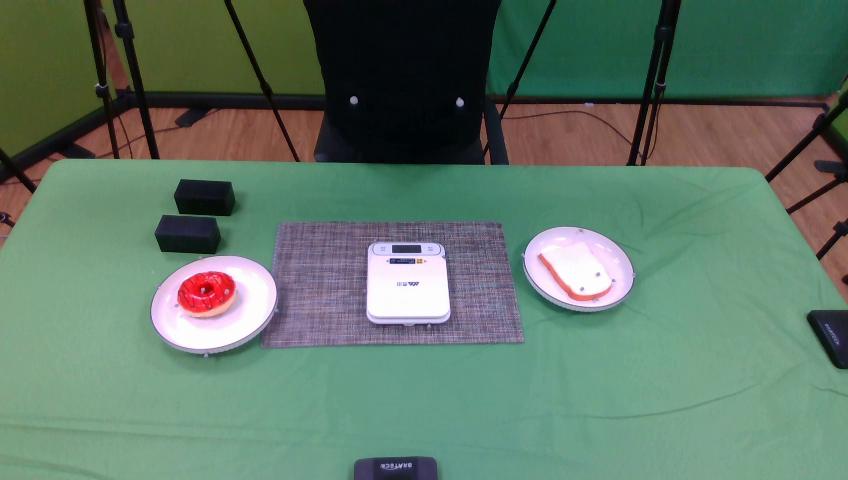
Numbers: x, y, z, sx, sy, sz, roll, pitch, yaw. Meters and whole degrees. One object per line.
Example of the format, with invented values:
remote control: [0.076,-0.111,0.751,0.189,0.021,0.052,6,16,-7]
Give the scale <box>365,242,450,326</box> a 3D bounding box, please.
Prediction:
scale: [-0.032,0.071,1.113,0.149,0.032,0.199,1,46,-4]

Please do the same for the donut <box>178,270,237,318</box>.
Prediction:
donut: [-0.375,0.092,1.053,0.099,0.048,0.098,1,42,-1]

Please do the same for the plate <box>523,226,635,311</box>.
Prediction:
plate: [0.291,0.058,1.151,0.209,0.038,0.208,2,45,-2]

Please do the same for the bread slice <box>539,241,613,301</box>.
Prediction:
bread slice: [0.297,0.058,1.153,0.105,0.019,0.130,-15,50,-18]

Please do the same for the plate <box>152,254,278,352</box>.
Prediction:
plate: [-0.357,0.111,1.052,0.208,0.039,0.206,2,46,-2]
